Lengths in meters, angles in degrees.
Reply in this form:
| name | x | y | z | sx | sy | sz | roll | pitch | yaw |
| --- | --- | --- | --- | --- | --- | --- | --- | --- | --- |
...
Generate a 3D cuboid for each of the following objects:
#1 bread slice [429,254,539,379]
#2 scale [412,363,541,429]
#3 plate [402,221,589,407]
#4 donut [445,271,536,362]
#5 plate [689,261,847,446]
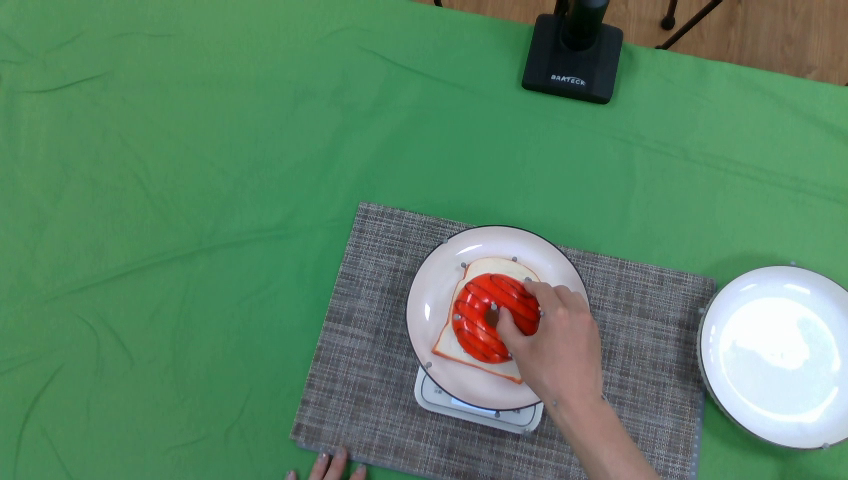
| name | x | y | z | sx | sy | sz | roll | pitch | yaw |
| --- | --- | --- | --- | --- | --- | --- | --- | --- | --- |
| bread slice | 0.074 | 0.080 | 0.689 | 0.105 | 0.019 | 0.131 | 17 | 76 | 4 |
| scale | 0.076 | 0.108 | 0.712 | 0.148 | 0.032 | 0.200 | 13 | 75 | 5 |
| plate | 0.079 | 0.082 | 0.685 | 0.209 | 0.038 | 0.208 | 0 | 75 | 1 |
| donut | 0.072 | 0.081 | 0.651 | 0.099 | 0.048 | 0.098 | 0 | 79 | -1 |
| plate | 0.409 | 0.129 | 0.699 | 0.207 | 0.039 | 0.206 | 0 | 74 | 1 |
